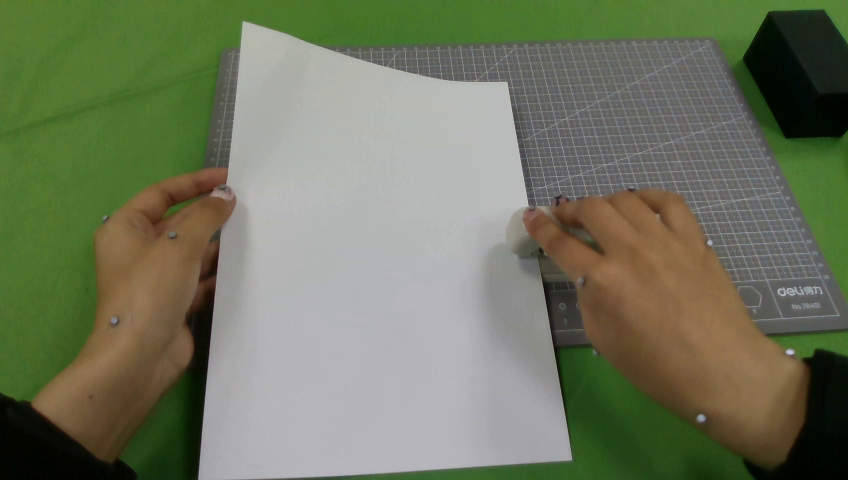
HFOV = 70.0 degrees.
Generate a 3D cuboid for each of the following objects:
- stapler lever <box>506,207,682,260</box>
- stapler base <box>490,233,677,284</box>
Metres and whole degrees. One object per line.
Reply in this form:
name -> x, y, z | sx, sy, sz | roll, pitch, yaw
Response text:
stapler lever -> 0.114, -0.004, 0.404 | 0.118, 0.040, 0.026 | -3, 59, 1
stapler base -> 0.113, 0.007, 0.420 | 0.131, 0.024, 0.041 | 0, 59, -4
